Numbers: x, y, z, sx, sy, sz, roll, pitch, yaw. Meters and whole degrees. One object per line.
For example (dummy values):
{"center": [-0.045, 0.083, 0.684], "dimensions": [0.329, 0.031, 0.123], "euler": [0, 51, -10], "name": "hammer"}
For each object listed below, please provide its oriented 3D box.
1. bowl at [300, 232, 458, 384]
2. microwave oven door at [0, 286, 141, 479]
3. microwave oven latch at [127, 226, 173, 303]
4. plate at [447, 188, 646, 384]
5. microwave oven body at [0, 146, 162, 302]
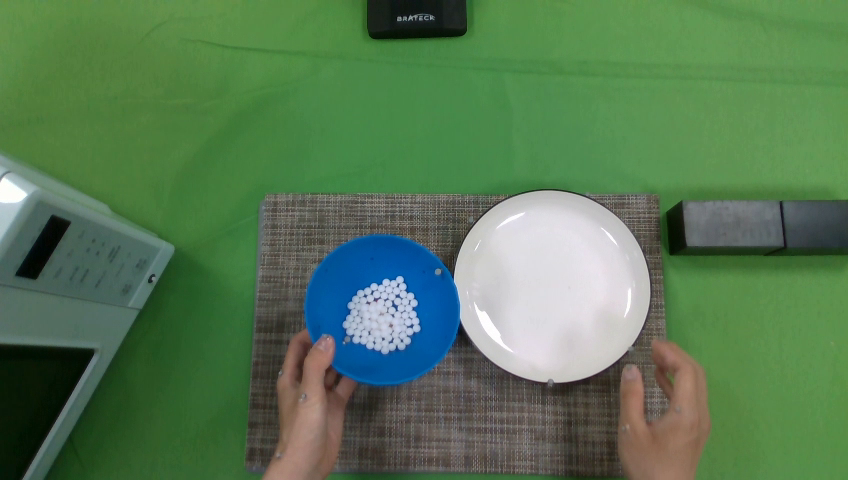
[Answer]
{"center": [-0.047, 0.075, 0.608], "dimensions": [0.152, 0.077, 0.150], "euler": [4, 67, -9], "name": "bowl"}
{"center": [-0.413, 0.199, 0.529], "dimensions": [0.039, 0.245, 0.355], "euler": [26, 81, 8], "name": "microwave oven door"}
{"center": [-0.306, 0.028, 0.660], "dimensions": [0.030, 0.029, 0.079], "euler": [28, 82, 7], "name": "microwave oven latch"}
{"center": [0.128, 0.049, 0.650], "dimensions": [0.207, 0.039, 0.206], "euler": [0, 79, 2], "name": "plate"}
{"center": [-0.524, 0.100, 0.558], "dimensions": [0.325, 0.261, 0.441], "euler": [26, 82, 7], "name": "microwave oven body"}
